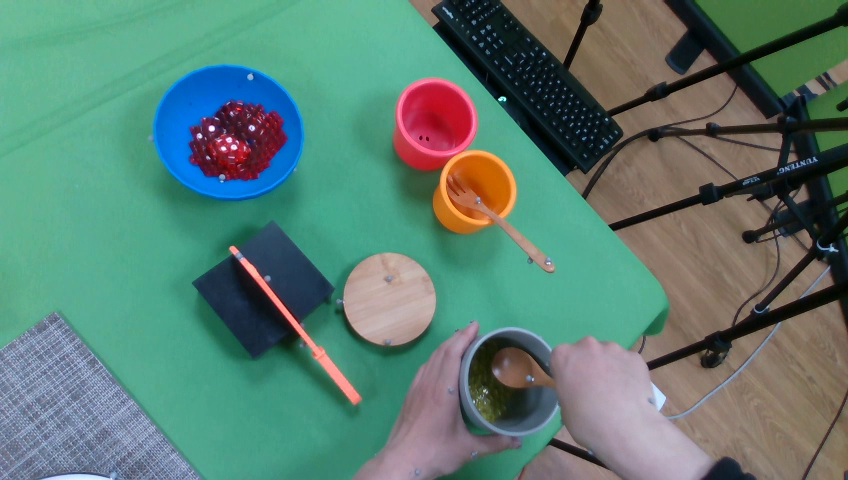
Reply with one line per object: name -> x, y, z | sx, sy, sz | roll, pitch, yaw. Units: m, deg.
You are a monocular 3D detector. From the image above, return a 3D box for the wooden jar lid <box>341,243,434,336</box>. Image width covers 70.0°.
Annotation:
wooden jar lid -> -0.043, 0.057, 0.702 | 0.109, 0.021, 0.108 | 3, 79, -12

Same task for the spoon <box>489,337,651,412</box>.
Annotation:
spoon -> 0.131, 0.131, 0.582 | 0.022, 0.192, 0.041 | 17, 87, -33

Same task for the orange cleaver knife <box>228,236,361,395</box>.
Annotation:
orange cleaver knife -> -0.136, 0.082, 0.641 | 0.012, 0.076, 0.213 | -40, 113, -15

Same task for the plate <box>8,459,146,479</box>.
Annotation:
plate -> -0.332, 0.312, 0.563 | 0.210, 0.038, 0.208 | 3, 78, -14

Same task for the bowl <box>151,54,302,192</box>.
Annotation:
bowl -> -0.212, -0.117, 0.666 | 0.152, 0.077, 0.150 | 3, 78, -13

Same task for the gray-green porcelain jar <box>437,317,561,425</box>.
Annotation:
gray-green porcelain jar -> 0.074, 0.142, 0.656 | 0.106, 0.126, 0.105 | 3, 77, -13

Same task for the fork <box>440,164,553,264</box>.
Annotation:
fork -> 0.078, -0.033, 0.682 | 0.028, 0.019, 0.205 | -25, 42, -18
